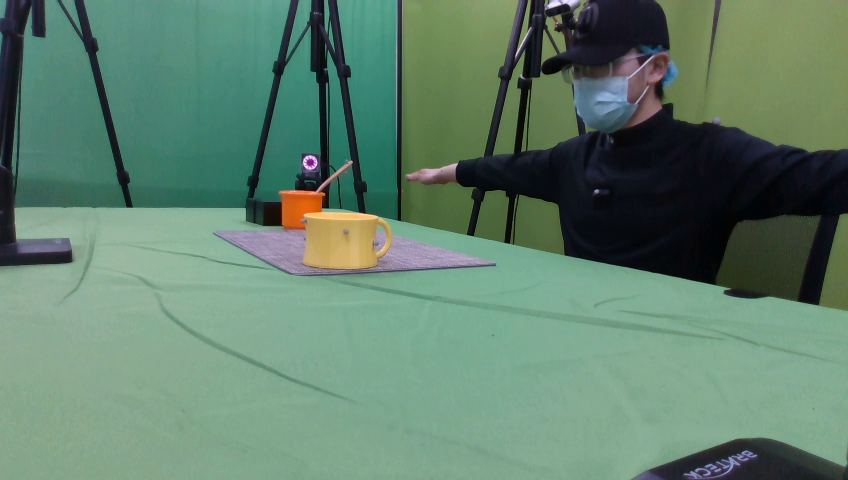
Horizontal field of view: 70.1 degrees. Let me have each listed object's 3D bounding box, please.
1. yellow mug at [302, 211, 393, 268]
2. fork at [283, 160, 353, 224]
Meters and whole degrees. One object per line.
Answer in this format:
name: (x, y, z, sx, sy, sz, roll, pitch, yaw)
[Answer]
yellow mug: (-0.098, -0.003, 0.810, 0.131, 0.064, 0.099, -2, 8, -37)
fork: (-0.214, -0.101, 1.245, 0.028, 0.019, 0.207, 0, 46, 53)
